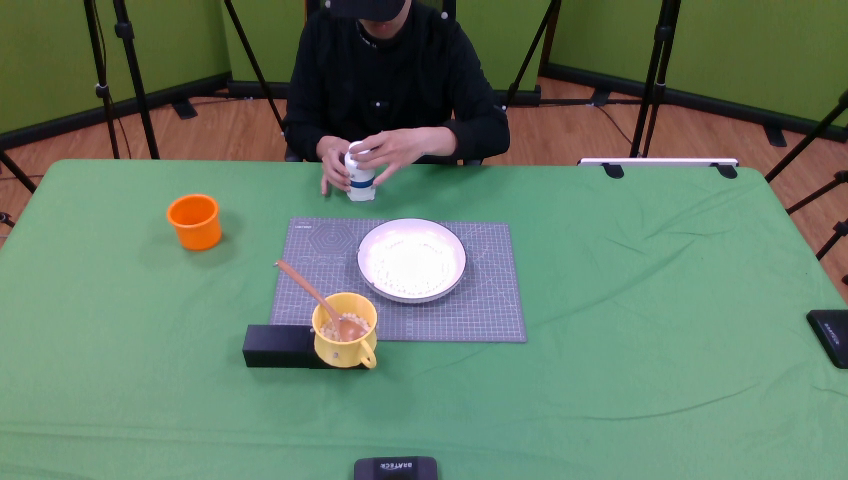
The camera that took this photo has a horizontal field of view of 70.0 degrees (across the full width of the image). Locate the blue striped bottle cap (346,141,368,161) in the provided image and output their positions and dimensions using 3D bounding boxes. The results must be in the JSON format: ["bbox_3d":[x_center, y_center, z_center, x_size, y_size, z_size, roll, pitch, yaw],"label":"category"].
[{"bbox_3d":[-0.134,-0.181,1.221,0.044,0.021,0.044,5,46,-5],"label":"blue striped bottle cap"}]

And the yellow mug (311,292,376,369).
[{"bbox_3d":[-0.115,0.150,0.945,0.100,0.064,0.130,-29,57,-28],"label":"yellow mug"}]

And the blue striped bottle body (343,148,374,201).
[{"bbox_3d":[-0.135,-0.145,1.257,0.063,0.121,0.062,3,46,-2],"label":"blue striped bottle body"}]

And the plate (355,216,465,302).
[{"bbox_3d":[-0.027,0.039,1.144,0.208,0.039,0.206,2,46,-2],"label":"plate"}]

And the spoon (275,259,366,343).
[{"bbox_3d":[-0.161,0.098,0.946,0.194,0.021,0.041,48,56,-5],"label":"spoon"}]
